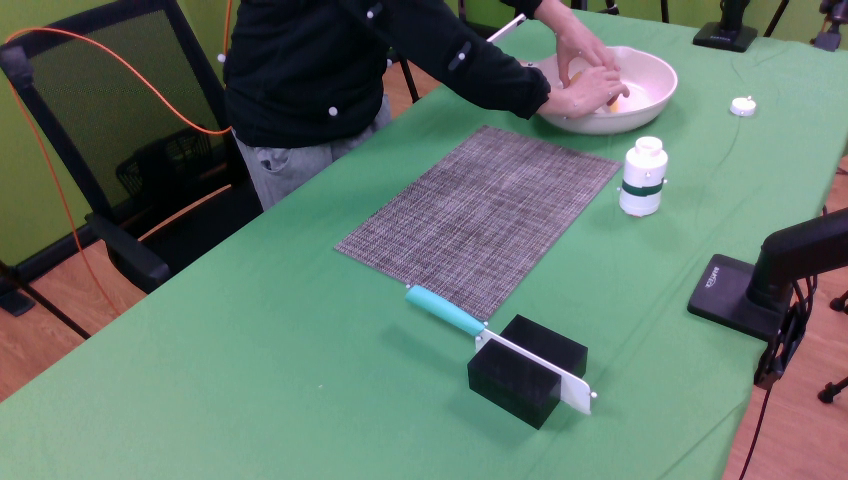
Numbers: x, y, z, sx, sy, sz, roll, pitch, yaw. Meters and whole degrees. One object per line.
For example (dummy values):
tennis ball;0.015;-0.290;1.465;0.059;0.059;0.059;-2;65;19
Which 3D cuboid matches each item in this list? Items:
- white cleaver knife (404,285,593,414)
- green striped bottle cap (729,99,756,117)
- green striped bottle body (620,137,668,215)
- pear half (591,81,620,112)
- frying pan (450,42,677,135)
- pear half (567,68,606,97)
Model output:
white cleaver knife;0.083;0.135;0.764;0.284;0.066;0.021;28;46;31
green striped bottle cap;0.623;-0.259;1.182;0.044;0.020;0.044;-3;40;3
green striped bottle body;0.350;-0.103;0.963;0.063;0.120;0.063;-4;41;4
pear half;0.359;-0.278;1.179;0.031;0.088;0.070;-30;18;7
frying pan;0.268;-0.344;1.267;0.485;0.103;0.307;26;49;21
pear half;0.328;-0.322;1.246;0.075;0.056;0.110;15;32;41
